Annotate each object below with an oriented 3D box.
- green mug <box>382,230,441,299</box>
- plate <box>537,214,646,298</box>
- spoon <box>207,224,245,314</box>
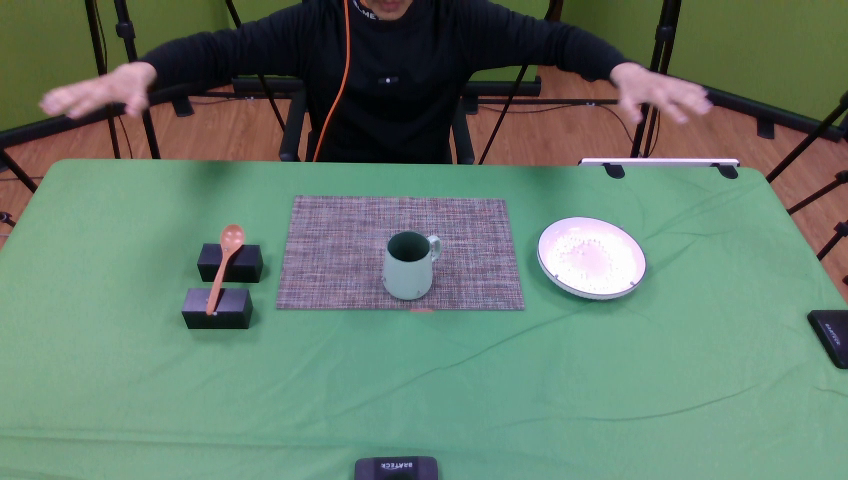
[{"bbox_3d":[-0.017,0.037,1.097,0.125,0.105,0.092,-34,57,-31],"label":"green mug"},{"bbox_3d":[0.321,0.035,1.176,0.209,0.038,0.208,2,47,-2],"label":"plate"},{"bbox_3d":[-0.350,0.047,1.055,0.042,0.022,0.192,15,45,-14],"label":"spoon"}]
